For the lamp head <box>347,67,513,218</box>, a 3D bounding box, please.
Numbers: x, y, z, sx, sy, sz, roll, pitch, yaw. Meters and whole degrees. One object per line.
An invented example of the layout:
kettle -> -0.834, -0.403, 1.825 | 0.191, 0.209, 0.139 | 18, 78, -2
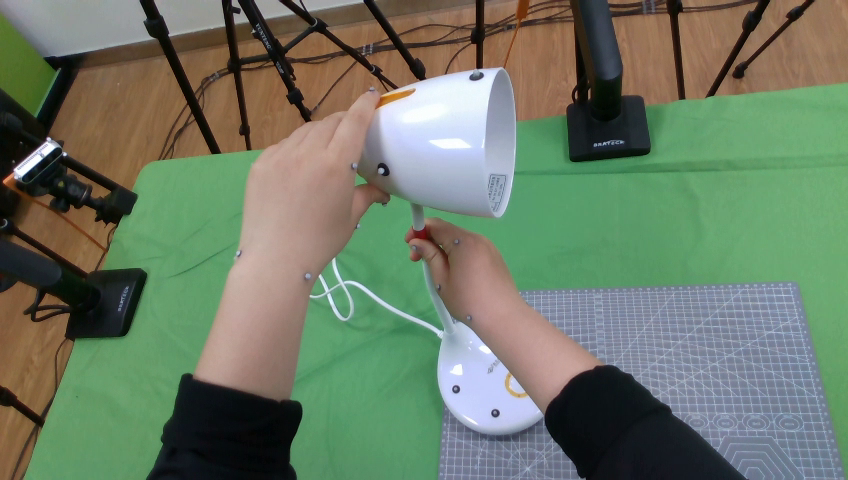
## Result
lamp head -> 0.005, -0.071, 0.473 | 0.122, 0.113, 0.111 | -1, 59, 22

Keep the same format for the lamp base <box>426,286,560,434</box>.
lamp base -> 0.066, 0.127, 0.728 | 0.178, 0.182, 0.160 | 21, 66, 29

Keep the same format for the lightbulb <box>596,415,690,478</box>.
lightbulb -> 0.248, 0.230, 0.693 | 0.107, 0.060, 0.059 | 16, 64, 42
